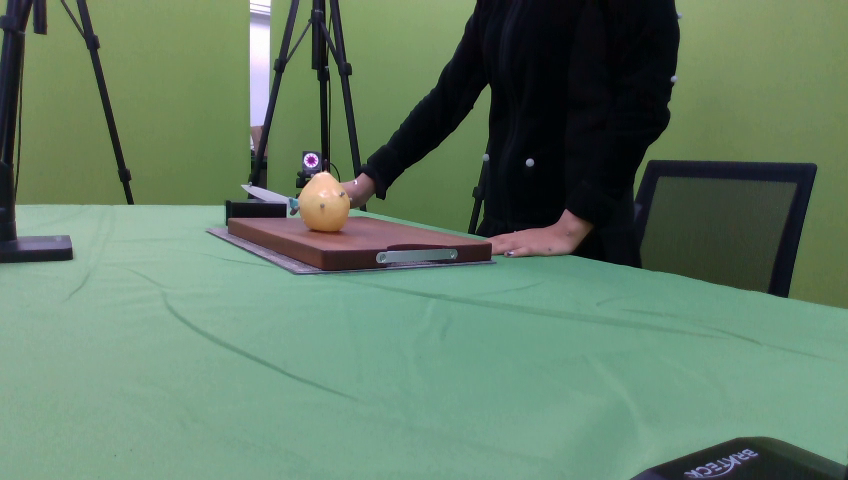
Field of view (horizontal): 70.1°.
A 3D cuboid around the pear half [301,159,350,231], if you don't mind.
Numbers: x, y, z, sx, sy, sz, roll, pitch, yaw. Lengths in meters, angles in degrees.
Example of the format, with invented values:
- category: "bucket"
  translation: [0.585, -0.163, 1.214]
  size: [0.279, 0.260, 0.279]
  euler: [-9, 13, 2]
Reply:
- category: "pear half"
  translation: [-0.143, -0.068, 0.917]
  size: [0.055, 0.110, 0.077]
  euler: [8, 12, 34]

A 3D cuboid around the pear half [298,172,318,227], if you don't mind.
- category: "pear half"
  translation: [-0.172, -0.062, 0.938]
  size: [0.031, 0.088, 0.071]
  euler: [8, 14, 34]

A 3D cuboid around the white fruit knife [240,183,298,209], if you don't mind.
- category: "white fruit knife"
  translation: [-0.268, -0.075, 1.213]
  size: [0.208, 0.027, 0.016]
  euler: [20, 0, -26]
